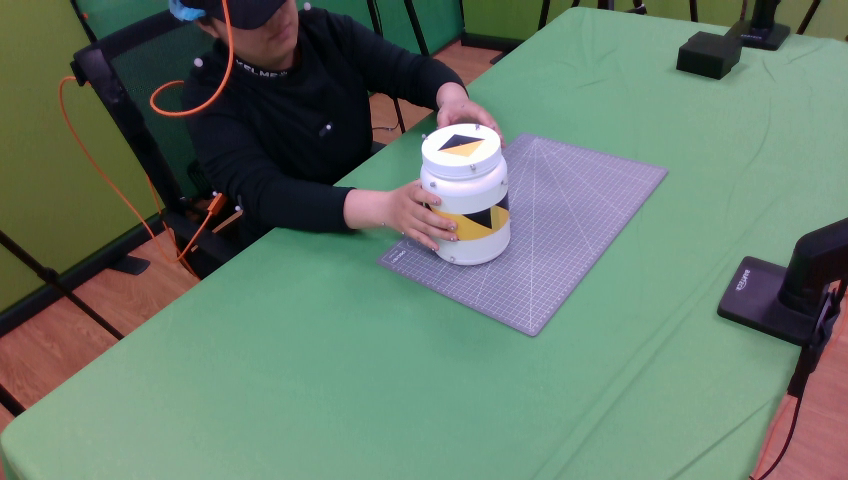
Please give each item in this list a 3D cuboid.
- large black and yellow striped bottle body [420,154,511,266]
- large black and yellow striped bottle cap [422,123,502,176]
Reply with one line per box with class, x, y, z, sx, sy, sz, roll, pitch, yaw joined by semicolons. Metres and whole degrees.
large black and yellow striped bottle body;0.064;-0.068;0.920;0.131;0.185;0.130;-5;40;5
large black and yellow striped bottle cap;0.054;-0.132;0.867;0.115;0.019;0.114;-5;41;5
